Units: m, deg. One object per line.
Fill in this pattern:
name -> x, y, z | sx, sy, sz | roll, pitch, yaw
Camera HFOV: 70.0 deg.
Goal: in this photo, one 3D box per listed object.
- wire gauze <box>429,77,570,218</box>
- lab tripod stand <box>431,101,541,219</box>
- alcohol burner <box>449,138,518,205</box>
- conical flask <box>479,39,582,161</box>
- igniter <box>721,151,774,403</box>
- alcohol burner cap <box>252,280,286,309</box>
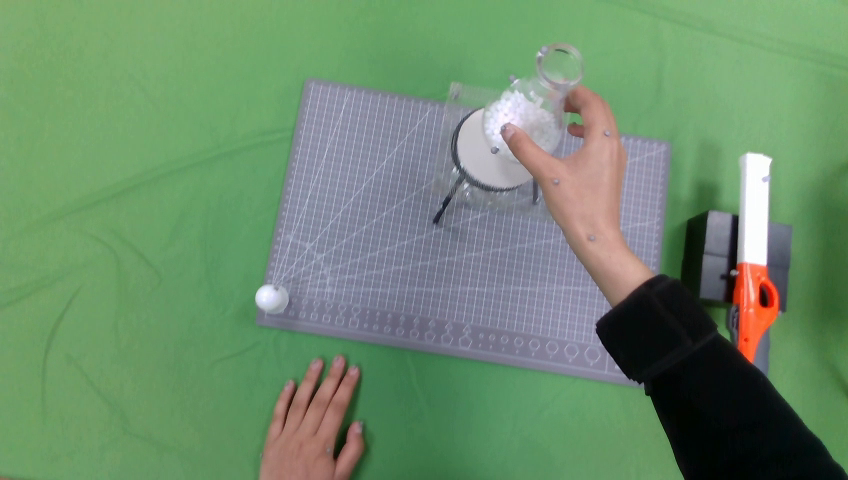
wire gauze -> 0.074, -0.092, 0.586 | 0.125, 0.011, 0.121 | 12, 80, -1
lab tripod stand -> 0.064, -0.086, 0.653 | 0.148, 0.132, 0.148 | 0, 80, -2
alcohol burner -> 0.067, -0.079, 0.662 | 0.078, 0.119, 0.077 | 0, 81, -2
conical flask -> 0.093, -0.119, 0.502 | 0.075, 0.122, 0.075 | 1, 78, -6
igniter -> 0.356, 0.036, 0.663 | 0.057, 0.025, 0.275 | 9, 78, -6
alcohol burner cap -> -0.171, 0.058, 0.659 | 0.034, 0.048, 0.033 | 1, 79, -5
